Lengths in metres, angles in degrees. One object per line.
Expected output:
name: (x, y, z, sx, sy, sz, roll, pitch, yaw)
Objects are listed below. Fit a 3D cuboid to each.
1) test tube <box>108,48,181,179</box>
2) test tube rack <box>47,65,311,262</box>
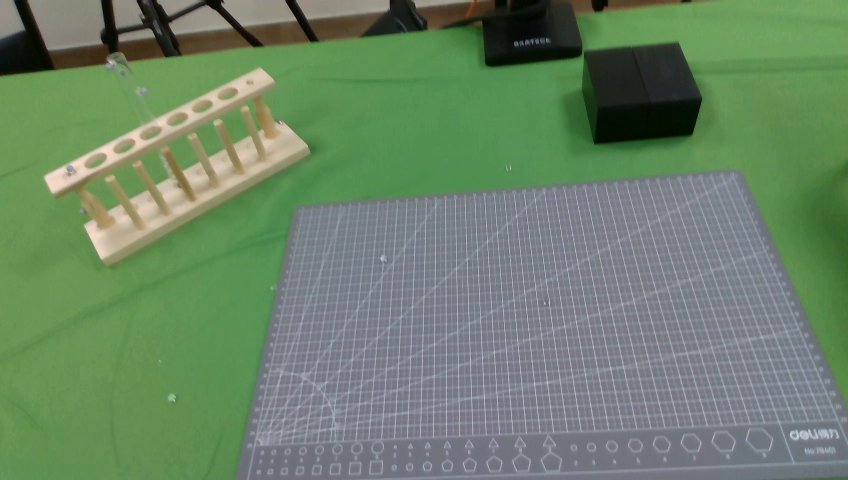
test tube: (-0.275, -0.122, 0.611, 0.017, 0.152, 0.017, -5, 45, 5)
test tube rack: (-0.249, -0.085, 0.642, 0.242, 0.086, 0.066, -34, 53, -18)
